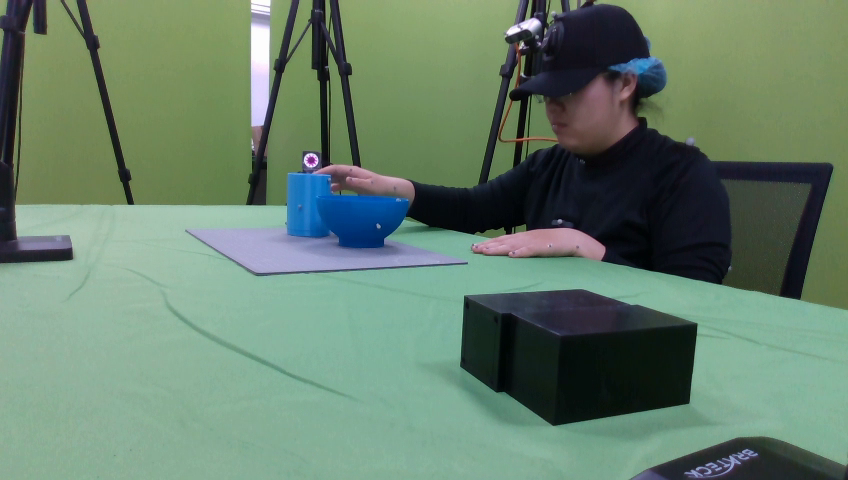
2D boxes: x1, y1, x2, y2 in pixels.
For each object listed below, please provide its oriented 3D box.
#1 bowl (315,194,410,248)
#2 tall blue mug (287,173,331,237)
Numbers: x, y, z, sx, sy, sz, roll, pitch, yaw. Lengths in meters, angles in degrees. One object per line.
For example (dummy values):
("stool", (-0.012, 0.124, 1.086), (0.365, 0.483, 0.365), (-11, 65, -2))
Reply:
("bowl", (-0.100, -0.030, 0.971), (0.151, 0.077, 0.151), (2, 7, 0))
("tall blue mug", (-0.207, -0.066, 1.088), (0.078, 0.108, 0.107), (0, 8, -12))
